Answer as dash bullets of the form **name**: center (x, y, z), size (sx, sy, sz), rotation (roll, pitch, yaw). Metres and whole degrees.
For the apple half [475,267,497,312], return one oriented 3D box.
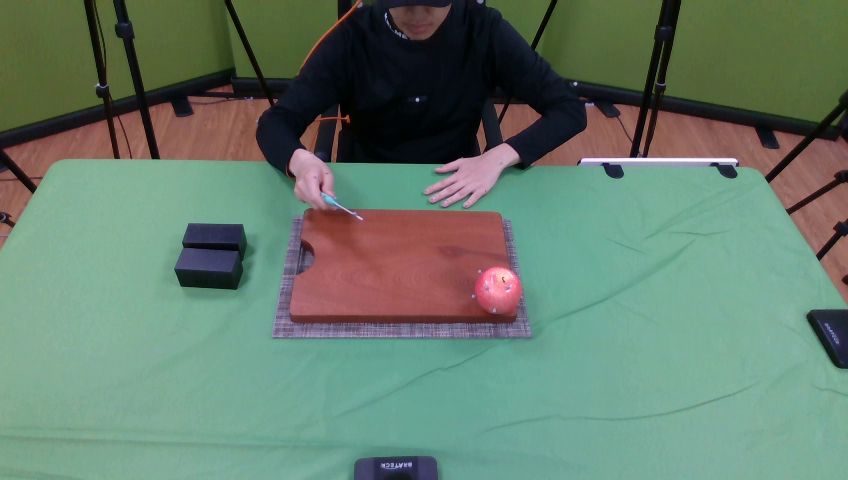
- **apple half**: center (0.103, 0.085, 1.044), size (0.033, 0.081, 0.081), rotation (10, 46, 1)

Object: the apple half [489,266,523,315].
- **apple half**: center (0.142, 0.091, 1.043), size (0.053, 0.075, 0.080), rotation (10, 44, 1)

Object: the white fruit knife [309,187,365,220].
- **white fruit knife**: center (-0.161, -0.067, 1.105), size (0.206, 0.027, 0.016), rotation (27, 83, 49)
